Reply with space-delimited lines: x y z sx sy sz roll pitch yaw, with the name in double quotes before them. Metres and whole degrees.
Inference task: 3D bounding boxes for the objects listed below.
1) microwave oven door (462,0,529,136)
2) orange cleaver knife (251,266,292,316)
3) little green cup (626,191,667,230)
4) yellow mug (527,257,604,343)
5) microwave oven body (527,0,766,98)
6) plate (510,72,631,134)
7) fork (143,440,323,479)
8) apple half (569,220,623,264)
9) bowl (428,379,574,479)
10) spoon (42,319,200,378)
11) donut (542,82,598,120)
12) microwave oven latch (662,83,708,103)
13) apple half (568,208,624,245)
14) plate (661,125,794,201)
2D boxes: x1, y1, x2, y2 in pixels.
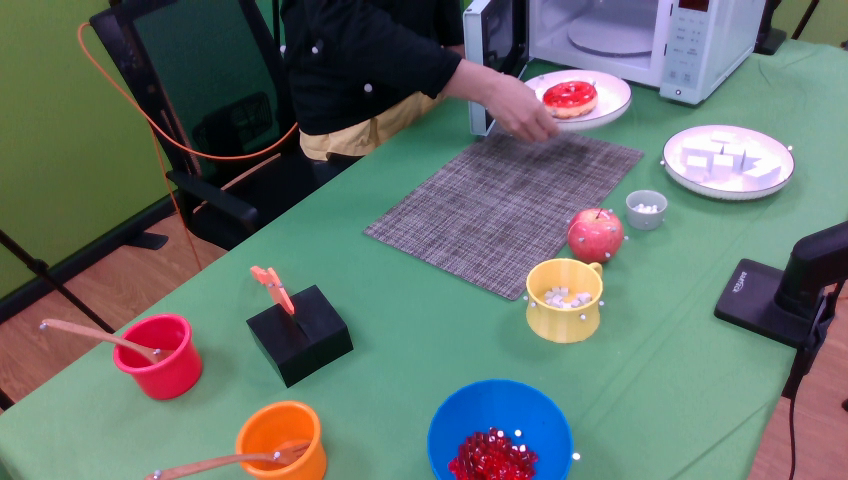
"microwave oven door" 0.156 -0.410 1.236 0.039 0.245 0.355 10 43 19
"orange cleaver knife" -0.221 0.071 0.873 0.012 0.077 0.210 -25 11 -21
"little green cup" 0.352 -0.046 0.963 0.061 0.039 0.061 -4 40 4
"yellow mug" 0.201 0.072 0.825 0.131 0.064 0.099 -32 46 -27
"microwave oven body" 0.472 -0.513 1.317 0.438 0.261 0.327 25 51 34
"plate" 0.259 -0.241 1.076 0.209 0.038 0.208 -6 37 5
"fork" -0.190 0.231 0.631 0.028 0.018 0.209 38 14 37
"apple half" 0.251 0.010 0.884 0.081 0.081 0.032 3 37 13
"bowl" 0.082 0.233 0.644 0.151 0.077 0.150 -4 39 4
"spoon" -0.385 0.135 0.779 0.195 0.021 0.041 29 37 -26
"donut" 0.257 -0.247 1.067 0.099 0.048 0.098 -7 35 6
"microwave oven latch" 0.518 -0.296 1.204 0.078 0.029 0.030 27 52 35
"apple half" 0.259 -0.014 0.914 0.080 0.075 0.053 0 36 15
"plate" 0.514 -0.128 1.035 0.207 0.039 0.206 -4 40 4
